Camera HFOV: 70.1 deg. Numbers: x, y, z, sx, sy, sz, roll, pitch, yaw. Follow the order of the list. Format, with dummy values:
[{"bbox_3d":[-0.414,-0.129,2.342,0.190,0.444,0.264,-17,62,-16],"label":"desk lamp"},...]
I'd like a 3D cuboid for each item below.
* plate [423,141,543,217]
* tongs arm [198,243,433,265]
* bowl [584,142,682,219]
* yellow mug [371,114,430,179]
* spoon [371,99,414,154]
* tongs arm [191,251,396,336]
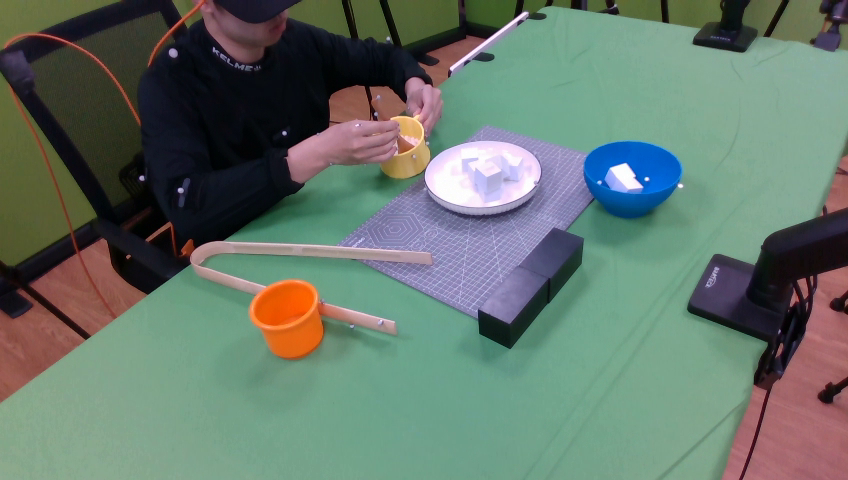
[{"bbox_3d":[0.103,-0.104,1.059,0.207,0.039,0.206,-4,40,4],"label":"plate"},{"bbox_3d":[-0.177,0.025,0.960,0.386,0.028,0.028,2,45,12],"label":"tongs arm"},{"bbox_3d":[0.333,-0.087,0.980,0.151,0.077,0.150,-4,40,3],"label":"bowl"},{"bbox_3d":[-0.034,-0.184,1.132,0.099,0.064,0.131,24,64,25],"label":"yellow mug"},{"bbox_3d":[-0.053,-0.188,1.055,0.041,0.195,0.021,-22,58,11],"label":"spoon"},{"bbox_3d":[-0.204,0.075,0.902,0.382,0.026,0.051,11,44,22],"label":"tongs arm"}]
